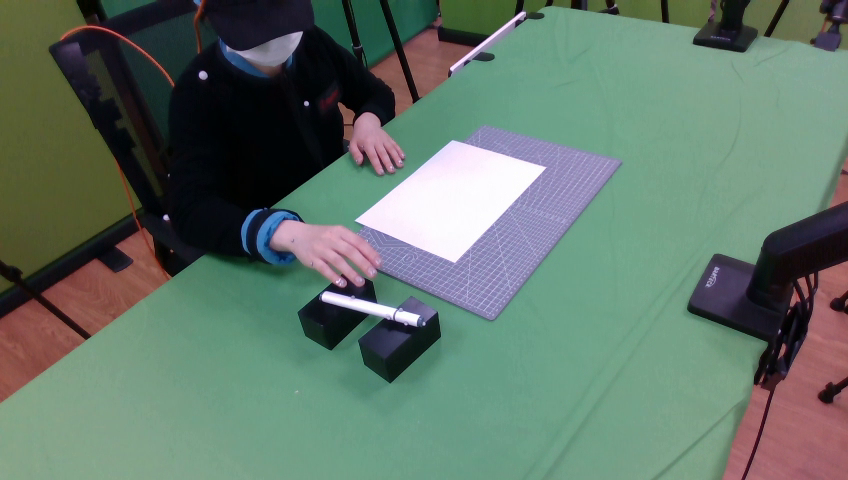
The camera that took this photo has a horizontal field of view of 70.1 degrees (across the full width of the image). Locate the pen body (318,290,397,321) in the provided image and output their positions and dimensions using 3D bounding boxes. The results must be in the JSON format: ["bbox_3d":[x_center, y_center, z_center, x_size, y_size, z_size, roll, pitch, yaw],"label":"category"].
[{"bbox_3d":[-0.076,0.089,0.801,0.143,0.017,0.017,12,44,21],"label":"pen body"}]

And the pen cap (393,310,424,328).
[{"bbox_3d":[-0.019,0.102,0.778,0.038,0.017,0.017,12,44,21],"label":"pen cap"}]
